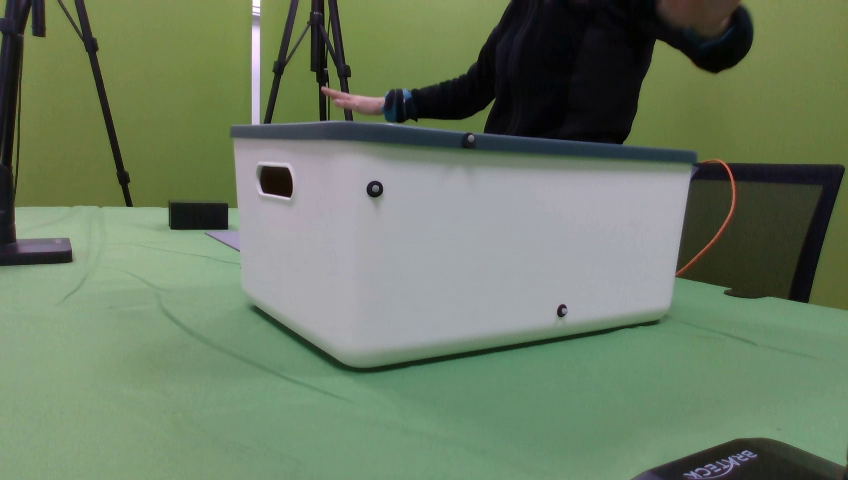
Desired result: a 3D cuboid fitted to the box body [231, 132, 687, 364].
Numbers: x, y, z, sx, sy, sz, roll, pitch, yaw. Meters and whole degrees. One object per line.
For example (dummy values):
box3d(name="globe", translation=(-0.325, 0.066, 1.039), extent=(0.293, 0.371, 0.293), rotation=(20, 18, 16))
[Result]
box3d(name="box body", translation=(0.031, -0.013, 0.563), extent=(0.366, 0.160, 0.253), rotation=(-3, 8, -33))

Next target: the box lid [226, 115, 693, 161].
box3d(name="box lid", translation=(0.031, -0.086, 0.554), extent=(0.373, 0.015, 0.262), rotation=(-2, 8, -33))

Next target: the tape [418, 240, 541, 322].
box3d(name="tape", translation=(0.052, 0.035, 0.571), extent=(0.117, 0.052, 0.117), rotation=(1, 10, 0))
